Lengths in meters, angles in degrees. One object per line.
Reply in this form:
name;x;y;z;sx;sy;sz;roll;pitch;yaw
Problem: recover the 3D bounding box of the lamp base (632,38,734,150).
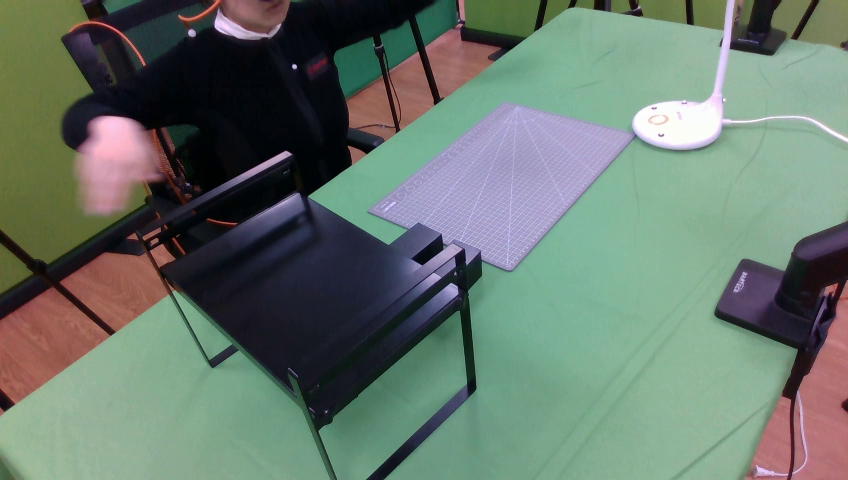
lamp base;0.486;-0.280;1.108;0.179;0.181;0.159;-5;41;-1
